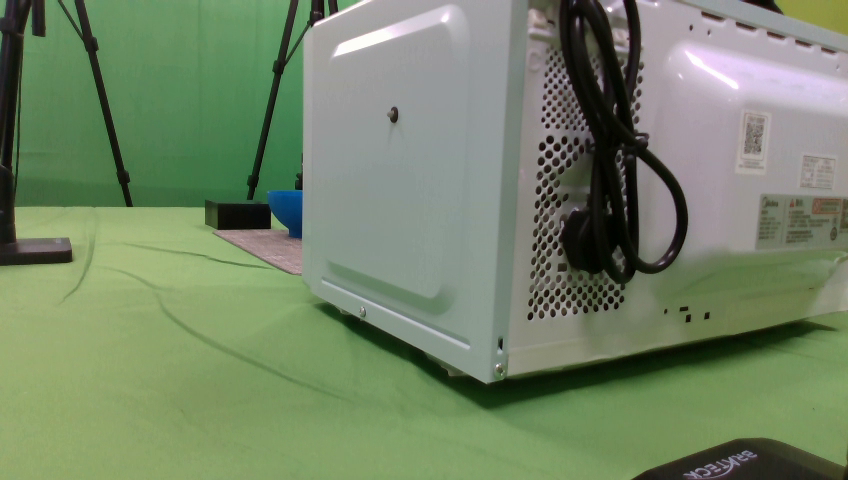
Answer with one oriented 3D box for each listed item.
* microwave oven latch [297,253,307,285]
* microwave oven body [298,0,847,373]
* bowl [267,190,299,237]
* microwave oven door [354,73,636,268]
[{"bbox_3d":[-0.082,0.027,0.582,0.079,0.029,0.030,-1,7,-32],"label":"microwave oven latch"},{"bbox_3d":[0.151,-0.055,0.543,0.444,0.260,0.324,-1,7,-33],"label":"microwave oven body"},{"bbox_3d":[-0.202,-0.046,1.070,0.151,0.077,0.151,3,7,0],"label":"bowl"},{"bbox_3d":[0.087,-0.095,0.803,0.355,0.243,0.039,3,8,8],"label":"microwave oven door"}]
